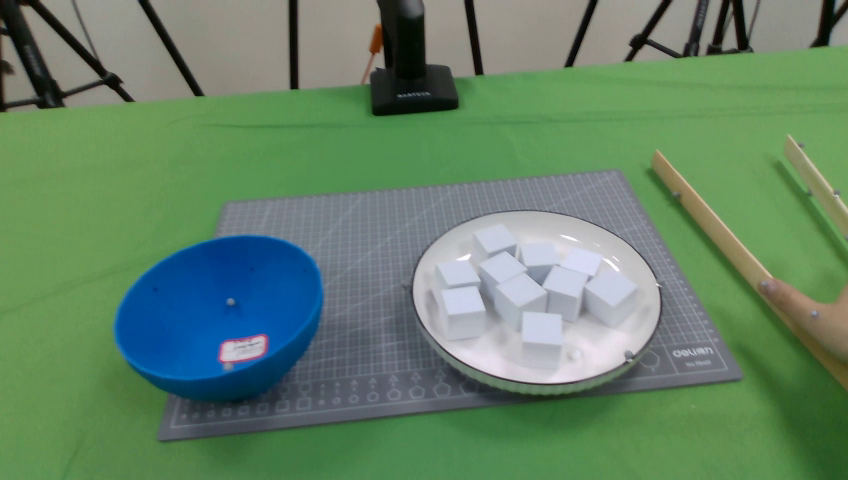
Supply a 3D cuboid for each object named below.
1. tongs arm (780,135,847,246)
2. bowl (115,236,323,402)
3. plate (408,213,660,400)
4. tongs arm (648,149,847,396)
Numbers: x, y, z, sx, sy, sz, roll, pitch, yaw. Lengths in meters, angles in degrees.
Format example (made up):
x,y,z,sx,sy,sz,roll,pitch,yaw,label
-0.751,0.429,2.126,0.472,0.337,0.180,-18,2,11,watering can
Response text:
x,y,z,sx,sy,sz,roll,pitch,yaw,label
0.385,0.016,0.551,0.051,0.027,0.381,-1,41,3,tongs arm
-0.149,0.074,0.476,0.151,0.077,0.150,-2,40,2,bowl
0.091,0.054,0.518,0.207,0.039,0.205,-1,40,2,plate
0.303,0.025,0.551,0.028,0.028,0.383,-8,41,-10,tongs arm
